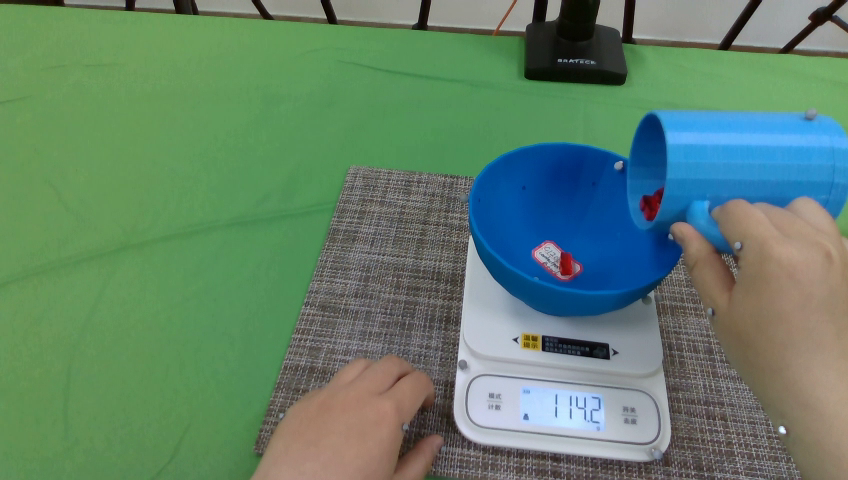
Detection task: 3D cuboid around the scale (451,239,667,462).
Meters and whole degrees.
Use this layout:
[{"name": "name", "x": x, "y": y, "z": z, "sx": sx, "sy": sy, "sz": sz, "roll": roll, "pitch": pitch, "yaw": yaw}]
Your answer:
[{"name": "scale", "x": 0.102, "y": 0.064, "z": 0.466, "sx": 0.148, "sy": 0.032, "sz": 0.199, "roll": 5, "pitch": 48, "yaw": 4}]

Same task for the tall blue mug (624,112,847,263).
[{"name": "tall blue mug", "x": 0.193, "y": -0.037, "z": 0.372, "sx": 0.108, "sy": 0.078, "sz": 0.106, "roll": 1, "pitch": 15, "yaw": 0}]

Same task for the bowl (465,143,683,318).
[{"name": "bowl", "x": 0.102, "y": 0.005, "z": 0.448, "sx": 0.151, "sy": 0.077, "sz": 0.150, "roll": 1, "pitch": 48, "yaw": -1}]
